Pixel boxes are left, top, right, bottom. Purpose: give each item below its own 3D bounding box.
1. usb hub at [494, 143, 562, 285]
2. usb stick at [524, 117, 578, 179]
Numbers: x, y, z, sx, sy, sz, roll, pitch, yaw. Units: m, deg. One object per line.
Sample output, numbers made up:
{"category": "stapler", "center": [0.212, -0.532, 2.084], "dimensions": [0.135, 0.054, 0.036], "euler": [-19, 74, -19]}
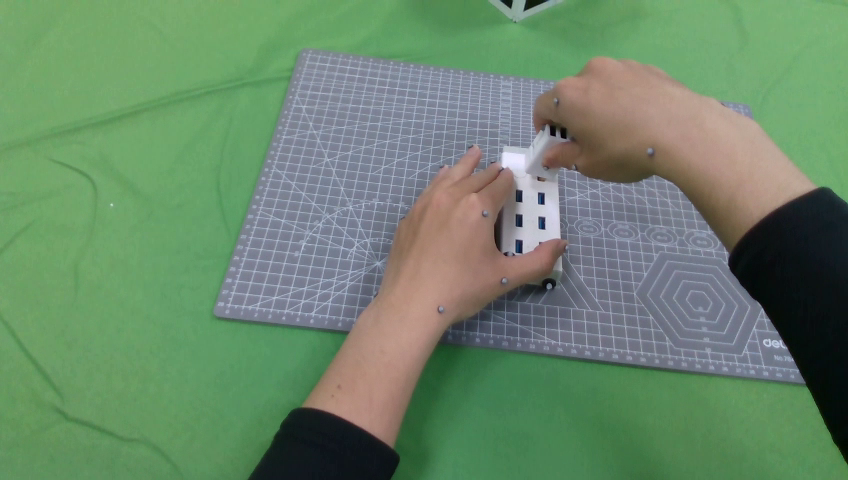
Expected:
{"category": "usb hub", "center": [0.083, -0.024, 0.491], "dimensions": [0.049, 0.025, 0.124], "euler": [7, 55, -1]}
{"category": "usb stick", "center": [0.097, -0.069, 0.480], "dimensions": [0.027, 0.059, 0.021], "euler": [11, 58, -10]}
